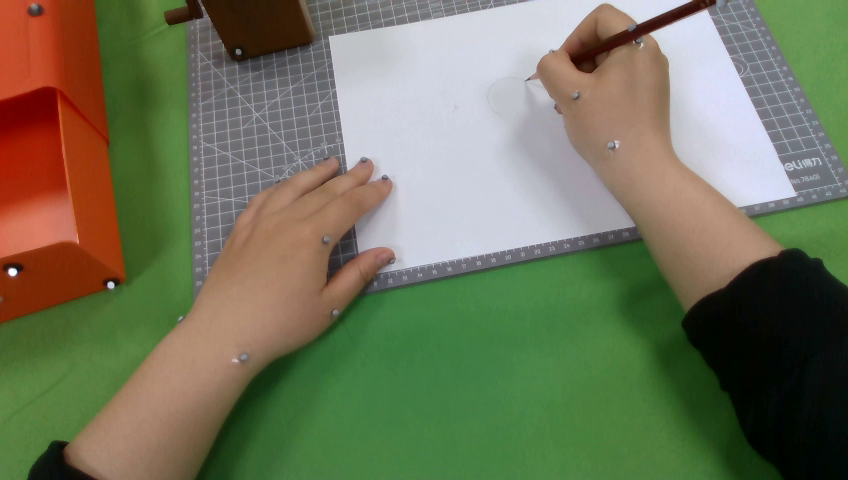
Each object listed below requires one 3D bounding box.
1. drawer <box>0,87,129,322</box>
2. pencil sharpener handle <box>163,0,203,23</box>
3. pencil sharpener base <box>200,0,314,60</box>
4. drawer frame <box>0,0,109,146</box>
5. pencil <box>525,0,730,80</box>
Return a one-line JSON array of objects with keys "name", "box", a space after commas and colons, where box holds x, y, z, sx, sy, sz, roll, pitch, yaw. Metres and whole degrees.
[{"name": "drawer", "box": [-0.323, -0.042, 0.412, 0.194, 0.074, 0.210, -19, 66, -4]}, {"name": "pencil sharpener handle", "box": [-0.183, -0.185, 0.433, 0.030, 0.068, 0.035, -17, 63, -3]}, {"name": "pencil sharpener base", "box": [-0.134, -0.195, 0.447, 0.077, 0.108, 0.061, -16, 66, -3]}, {"name": "drawer frame", "box": [-0.360, -0.143, 0.456, 0.202, 0.083, 0.211, -18, 66, -4]}, {"name": "pencil", "box": [0.121, -0.124, 0.371, 0.012, 0.193, 0.012, 1, 88, -27]}]
